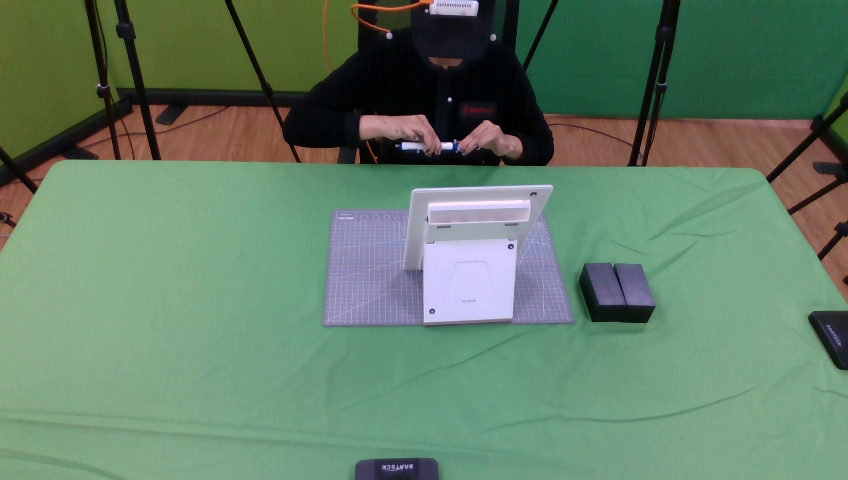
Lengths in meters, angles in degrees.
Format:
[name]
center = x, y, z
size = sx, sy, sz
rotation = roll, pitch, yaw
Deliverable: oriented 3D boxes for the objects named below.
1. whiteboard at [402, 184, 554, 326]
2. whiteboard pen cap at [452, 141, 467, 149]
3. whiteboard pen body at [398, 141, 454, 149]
[whiteboard]
center = 0.081, 0.044, 1.005
size = 0.217, 0.306, 0.143
rotation = -1, 66, -6
[whiteboard pen cap]
center = 0.075, -0.205, 1.304
size = 0.033, 0.018, 0.018
rotation = -1, 46, -5
[whiteboard pen body]
center = 0.015, -0.203, 1.298
size = 0.141, 0.017, 0.017
rotation = 0, 46, -4
